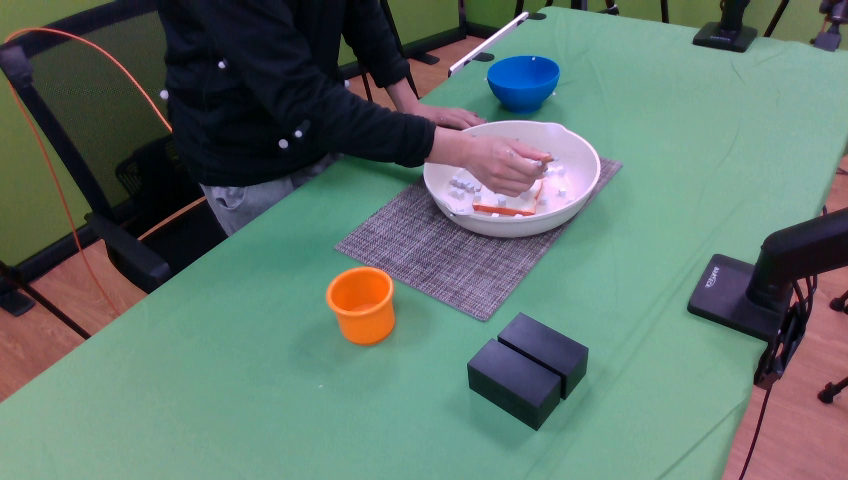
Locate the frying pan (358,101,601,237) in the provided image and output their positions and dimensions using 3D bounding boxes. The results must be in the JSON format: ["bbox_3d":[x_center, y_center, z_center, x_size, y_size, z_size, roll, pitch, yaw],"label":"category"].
[{"bbox_3d":[0.067,-0.153,1.067,0.484,0.103,0.308,32,52,26],"label":"frying pan"}]

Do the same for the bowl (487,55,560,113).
[{"bbox_3d":[0.208,-0.319,1.266,0.151,0.077,0.150,-4,41,4],"label":"bowl"}]

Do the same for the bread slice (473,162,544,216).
[{"bbox_3d":[0.150,-0.089,1.041,0.106,0.018,0.134,8,44,15],"label":"bread slice"}]

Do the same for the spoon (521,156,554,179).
[{"bbox_3d":[0.177,-0.113,0.923,0.041,0.194,0.021,12,88,4],"label":"spoon"}]
